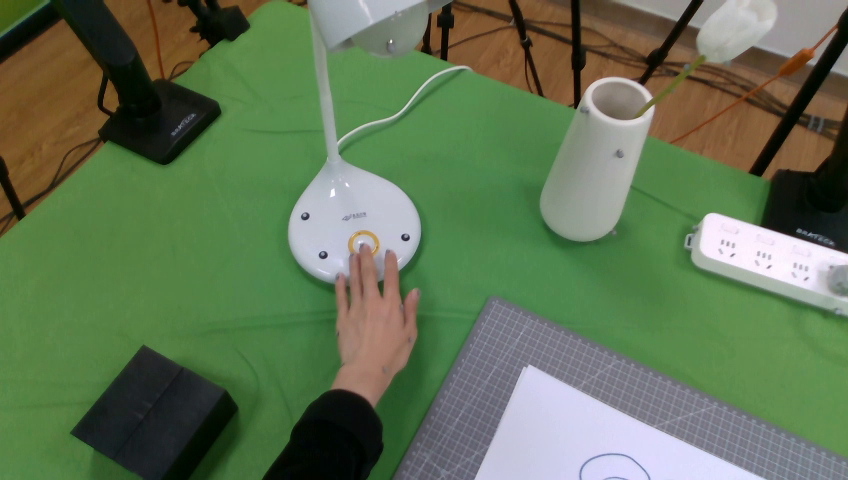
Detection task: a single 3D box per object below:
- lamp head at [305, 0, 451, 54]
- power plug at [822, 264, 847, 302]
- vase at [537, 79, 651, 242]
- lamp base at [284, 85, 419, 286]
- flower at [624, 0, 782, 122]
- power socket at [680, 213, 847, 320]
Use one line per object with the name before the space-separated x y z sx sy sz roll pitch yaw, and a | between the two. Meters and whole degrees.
lamp head | -0.044 -0.204 0.418 0.112 0.112 0.123 -30 101 -20
power plug | 0.458 0.058 0.674 0.035 0.053 0.072 29 66 16
vase | 0.189 -0.084 0.685 0.098 0.201 0.097 0 56 0
lamp base | -0.091 -0.067 0.673 0.161 0.182 0.177 -23 57 -17
flower | 0.204 -0.116 0.608 0.044 0.362 0.038 -10 74 -19
power socket | 0.422 0.031 0.717 0.226 0.033 0.072 20 59 10
